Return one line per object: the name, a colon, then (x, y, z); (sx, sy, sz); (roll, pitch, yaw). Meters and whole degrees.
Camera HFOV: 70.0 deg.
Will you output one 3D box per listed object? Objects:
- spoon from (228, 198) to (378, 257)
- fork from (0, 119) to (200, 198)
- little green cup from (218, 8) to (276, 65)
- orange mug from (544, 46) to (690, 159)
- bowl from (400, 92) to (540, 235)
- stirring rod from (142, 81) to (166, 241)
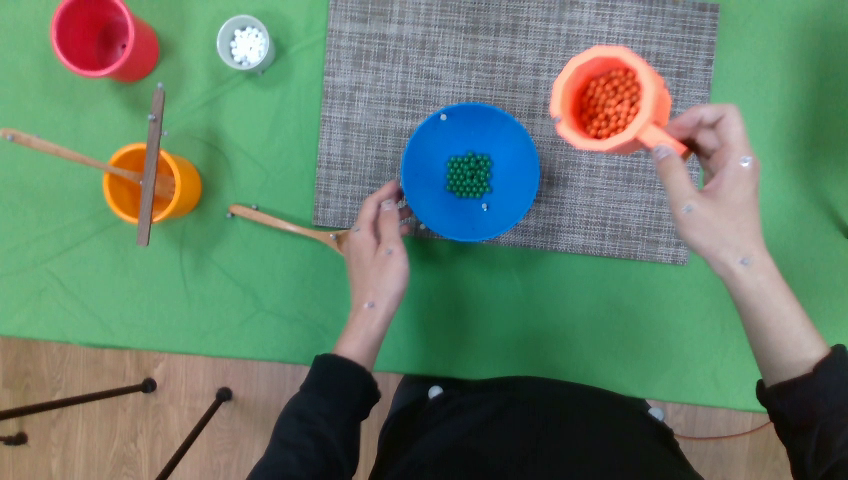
spoon: (-0.147, -0.021, 0.732); (0.194, 0.021, 0.042); (17, 110, 2)
fork: (-0.353, -0.089, 0.676); (0.209, 0.018, 0.028); (21, 100, -42)
little green cup: (-0.205, -0.235, 0.710); (0.061, 0.038, 0.061); (0, 95, 5)
orange mug: (0.179, -0.115, 0.545); (0.125, 0.101, 0.084); (44, 116, 24)
bowl: (0.052, -0.082, 0.683); (0.151, 0.077, 0.151); (0, 95, 4)
stirring rod: (-0.299, -0.086, 0.670); (0.014, 0.006, 0.176); (7, 95, 4)
